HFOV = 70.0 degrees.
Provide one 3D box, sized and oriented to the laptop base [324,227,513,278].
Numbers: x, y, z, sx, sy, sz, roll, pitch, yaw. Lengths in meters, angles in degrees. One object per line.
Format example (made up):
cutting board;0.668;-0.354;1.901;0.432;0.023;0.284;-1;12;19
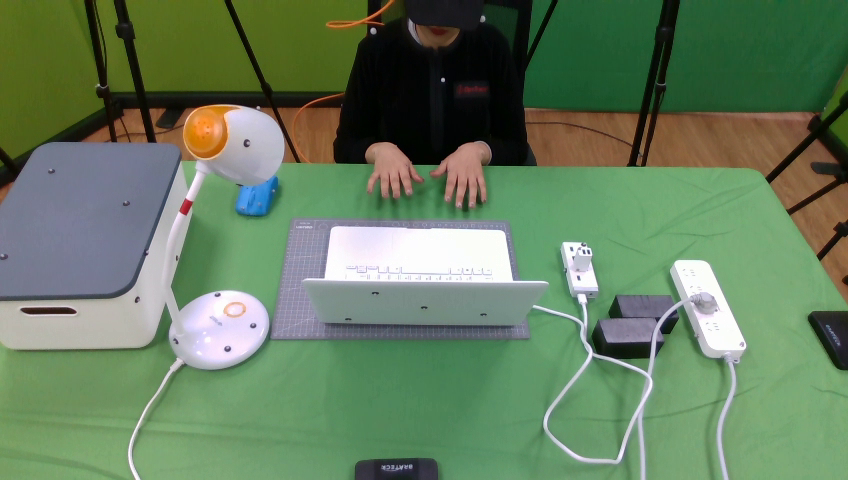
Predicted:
laptop base;-0.009;0.063;1.137;0.354;0.023;0.234;1;42;-3

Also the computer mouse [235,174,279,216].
computer mouse;-0.346;-0.098;1.258;0.063;0.041;0.116;8;50;2

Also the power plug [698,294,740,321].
power plug;0.515;0.127;1.070;0.035;0.053;0.072;-18;56;-7

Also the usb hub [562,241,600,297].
usb hub;0.300;0.055;1.162;0.049;0.025;0.124;2;46;-3

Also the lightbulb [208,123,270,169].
lightbulb;-0.261;-0.136;0.848;0.059;0.108;0.059;-4;77;21

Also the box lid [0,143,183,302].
box lid;-0.567;-0.045;0.999;0.263;0.015;0.369;-1;46;-4

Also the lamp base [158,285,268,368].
lamp base;-0.348;0.102;0.963;0.160;0.181;0.178;23;51;18

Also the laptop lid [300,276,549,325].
laptop lid;-0.002;0.100;0.947;0.357;0.242;0.013;1;67;-4

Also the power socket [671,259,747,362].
power socket;0.516;0.119;1.108;0.072;0.033;0.225;0;46;-2

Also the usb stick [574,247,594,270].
usb stick;0.298;0.040;1.135;0.027;0.059;0.021;2;46;-4

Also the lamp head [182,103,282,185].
lamp head;-0.271;-0.133;0.825;0.112;0.112;0.123;20;8;15

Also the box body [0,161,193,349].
box body;-0.570;0.006;1.054;0.254;0.161;0.361;-1;46;-4
